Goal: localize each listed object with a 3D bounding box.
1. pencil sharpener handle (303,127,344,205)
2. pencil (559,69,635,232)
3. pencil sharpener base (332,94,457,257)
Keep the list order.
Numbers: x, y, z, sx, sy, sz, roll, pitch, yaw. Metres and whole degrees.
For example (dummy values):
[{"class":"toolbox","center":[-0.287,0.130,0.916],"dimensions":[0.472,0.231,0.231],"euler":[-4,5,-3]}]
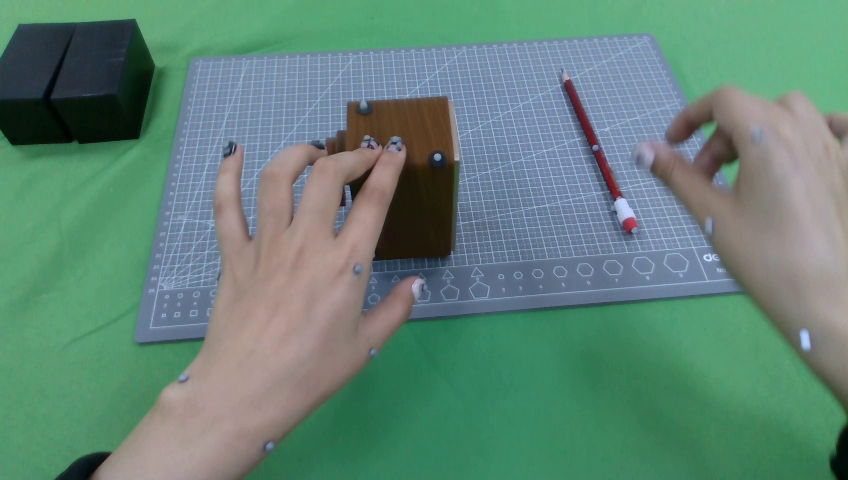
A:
[{"class":"pencil sharpener handle","center":[-0.070,-0.045,0.406],"dimensions":[0.031,0.068,0.035],"euler":[-3,57,-2]},{"class":"pencil","center":[0.141,-0.084,0.511],"dimensions":[0.012,0.012,0.192],"euler":[-6,54,-5]},{"class":"pencil sharpener base","center":[-0.019,-0.041,0.418],"dimensions":[0.077,0.108,0.061],"euler":[-3,55,-2]}]
